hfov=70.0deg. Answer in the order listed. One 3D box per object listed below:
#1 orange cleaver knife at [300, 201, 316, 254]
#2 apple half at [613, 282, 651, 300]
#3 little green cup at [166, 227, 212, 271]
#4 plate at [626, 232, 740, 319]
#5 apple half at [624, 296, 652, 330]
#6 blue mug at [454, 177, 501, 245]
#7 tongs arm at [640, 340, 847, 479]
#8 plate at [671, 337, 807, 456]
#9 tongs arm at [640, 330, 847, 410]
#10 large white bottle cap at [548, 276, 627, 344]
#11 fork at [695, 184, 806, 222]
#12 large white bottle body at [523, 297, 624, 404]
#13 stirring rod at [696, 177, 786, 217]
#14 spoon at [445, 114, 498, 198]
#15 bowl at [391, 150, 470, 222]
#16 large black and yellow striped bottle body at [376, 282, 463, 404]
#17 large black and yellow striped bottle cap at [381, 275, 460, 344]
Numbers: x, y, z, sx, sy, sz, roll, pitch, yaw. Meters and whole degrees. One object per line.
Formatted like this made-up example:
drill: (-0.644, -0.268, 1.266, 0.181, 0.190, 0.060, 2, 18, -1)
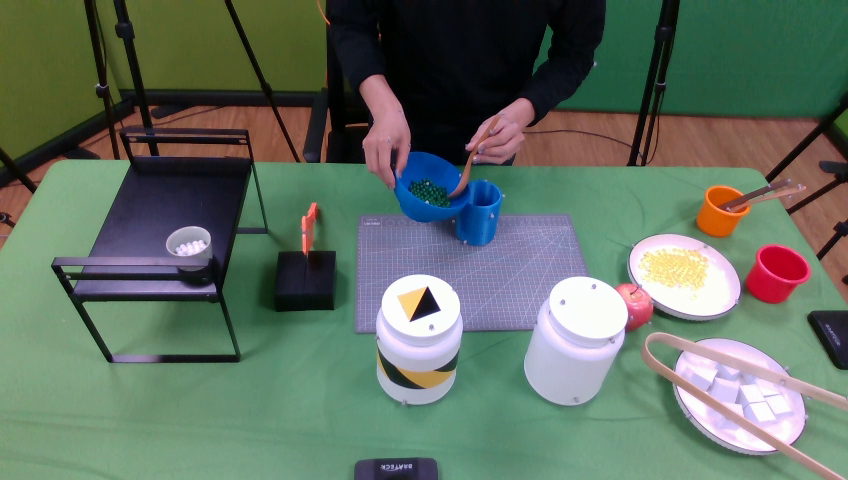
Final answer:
orange cleaver knife: (-0.221, -0.027, 1.161, 0.012, 0.077, 0.210, -1, 15, -4)
apple half: (0.356, 0.109, 1.086, 0.081, 0.075, 0.053, -14, 45, -12)
little green cup: (-0.344, 0.014, 0.895, 0.061, 0.039, 0.061, 3, 46, -3)
plate: (0.488, 0.071, 1.157, 0.209, 0.038, 0.208, 3, 46, -3)
apple half: (0.368, 0.135, 1.060, 0.081, 0.081, 0.032, -11, 43, -15)
blue mug: (0.106, -0.067, 1.208, 0.082, 0.106, 0.116, 6, 46, 1)
tongs arm: (0.500, 0.277, 0.919, 0.386, 0.028, 0.028, 34, 59, 22)
plate: (0.504, 0.254, 0.984, 0.208, 0.039, 0.206, 2, 46, -2)
tongs arm: (0.543, 0.225, 0.969, 0.384, 0.026, 0.050, 22, 52, 13)
large white bottle cap: (0.240, 0.100, 0.890, 0.115, 0.018, 0.114, 3, 47, -3)
fork: (0.658, -0.074, 1.230, 0.207, 0.019, 0.028, -24, 34, 36)
large white bottle body: (0.235, 0.159, 0.952, 0.131, 0.185, 0.130, 2, 47, -2)
stirring rod: (0.648, -0.087, 1.244, 0.176, 0.006, 0.014, -25, 50, 29)
spoon: (0.082, -0.144, 1.065, 0.021, 0.194, 0.041, 35, 41, 11)
bowl: (0.001, -0.086, 1.110, 0.152, 0.077, 0.150, 17, 42, -16)
large black and yellow striped bottle body: (-0.010, 0.155, 0.937, 0.131, 0.185, 0.130, 2, 47, -2)
large black and yellow striped bottle cap: (-0.005, 0.098, 0.875, 0.115, 0.019, 0.114, 2, 45, -1)
